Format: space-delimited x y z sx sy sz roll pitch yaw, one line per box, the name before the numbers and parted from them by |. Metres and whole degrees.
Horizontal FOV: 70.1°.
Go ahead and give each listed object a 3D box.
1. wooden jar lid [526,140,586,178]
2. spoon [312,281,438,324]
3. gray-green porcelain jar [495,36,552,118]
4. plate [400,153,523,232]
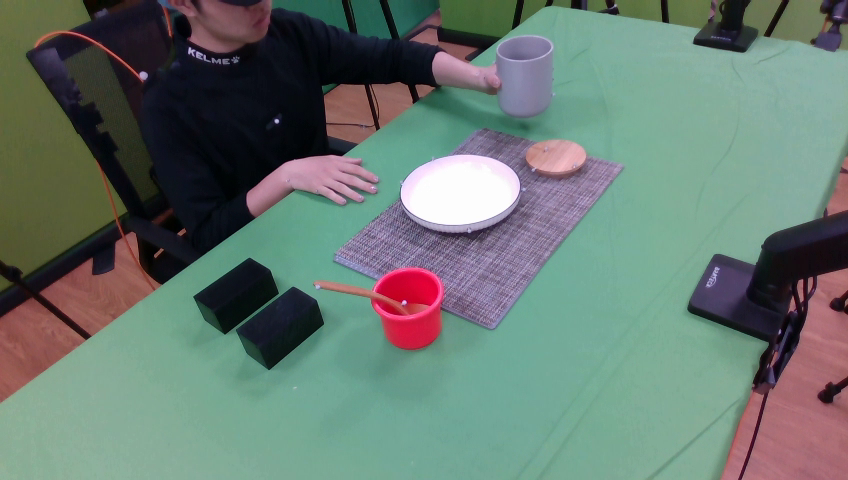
wooden jar lid | 0.240 -0.147 1.103 0.108 0.021 0.108 -4 42 4
spoon | -0.060 0.078 0.793 0.195 0.021 0.041 24 24 -35
gray-green porcelain jar | 0.190 -0.306 1.152 0.106 0.127 0.105 -5 43 5
plate | 0.065 -0.078 1.034 0.207 0.039 0.206 -4 41 4
